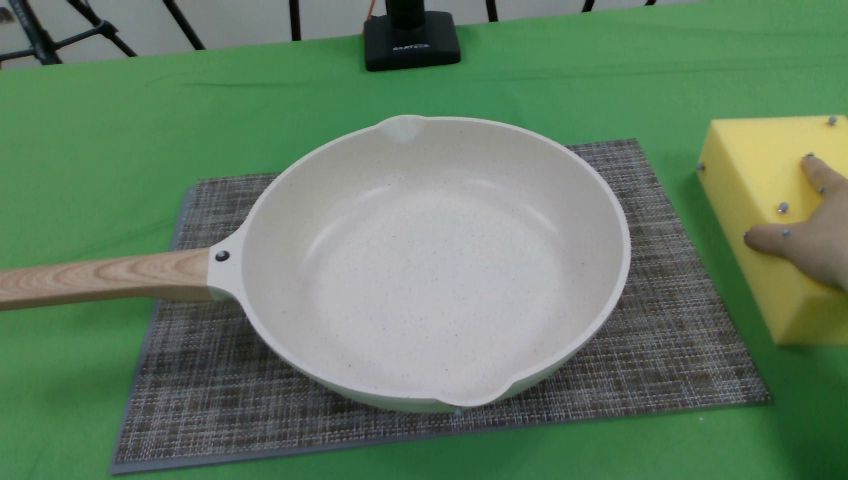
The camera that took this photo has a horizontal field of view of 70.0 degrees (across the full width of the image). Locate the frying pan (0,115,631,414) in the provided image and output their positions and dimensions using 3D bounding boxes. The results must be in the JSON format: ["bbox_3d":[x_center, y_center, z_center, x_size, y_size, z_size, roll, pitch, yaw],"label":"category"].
[{"bbox_3d":[-0.096,0.017,0.459,0.489,0.103,0.303,-3,44,-10],"label":"frying pan"}]

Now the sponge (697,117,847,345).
[{"bbox_3d":[0.317,-0.016,0.490,0.118,0.061,0.205,-2,45,3],"label":"sponge"}]
